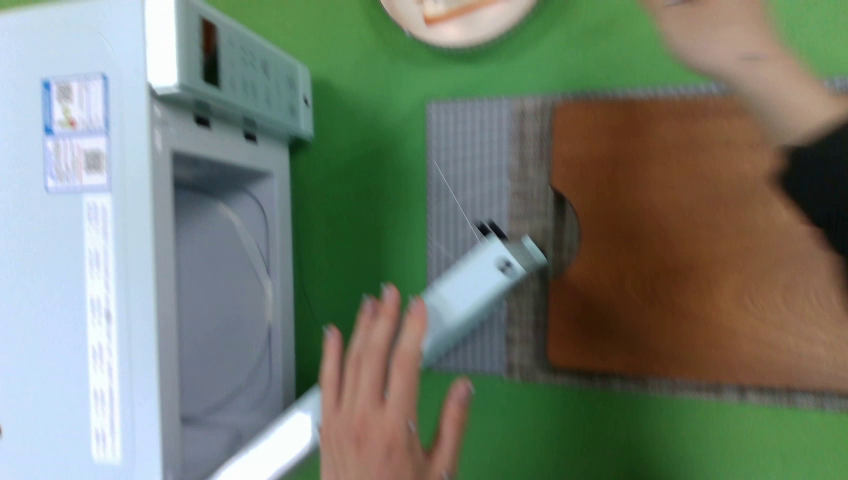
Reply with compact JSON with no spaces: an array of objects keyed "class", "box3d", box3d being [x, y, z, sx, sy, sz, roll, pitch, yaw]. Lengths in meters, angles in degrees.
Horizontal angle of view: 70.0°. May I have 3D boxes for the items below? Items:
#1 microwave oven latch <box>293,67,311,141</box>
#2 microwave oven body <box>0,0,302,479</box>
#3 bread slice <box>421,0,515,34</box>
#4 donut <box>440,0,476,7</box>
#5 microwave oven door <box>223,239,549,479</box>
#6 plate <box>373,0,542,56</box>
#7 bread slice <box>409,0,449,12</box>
[{"class":"microwave oven latch","box3d":[-0.147,-0.155,0.692,0.030,0.029,0.079,-1,91,14]},{"class":"microwave oven body","box3d":[-0.311,0.025,0.636,0.325,0.261,0.441,-2,90,14]},{"class":"bread slice","box3d":[0.033,-0.303,0.662,0.105,0.019,0.131,-14,87,13]},{"class":"donut","box3d":[0.034,-0.295,0.632,0.099,0.048,0.099,1,96,8]},{"class":"microwave oven door","box3d":[-0.040,0.124,0.561,0.356,0.244,0.039,-41,79,11]},{"class":"plate","box3d":[0.040,-0.302,0.660,0.207,0.039,0.207,0,90,15]},{"class":"bread slice","box3d":[0.022,-0.303,0.604,0.107,0.018,0.133,-18,80,15]}]
